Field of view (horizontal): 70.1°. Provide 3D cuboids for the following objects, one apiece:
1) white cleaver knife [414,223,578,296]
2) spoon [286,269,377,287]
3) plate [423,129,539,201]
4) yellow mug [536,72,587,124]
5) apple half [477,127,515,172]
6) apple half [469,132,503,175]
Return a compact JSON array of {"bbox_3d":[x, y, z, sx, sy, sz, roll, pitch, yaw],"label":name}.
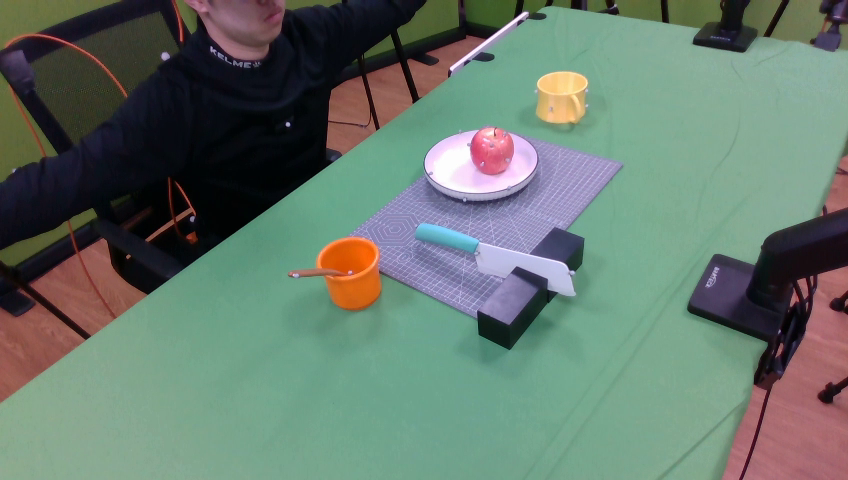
[{"bbox_3d":[0.093,0.028,0.880,0.284,0.066,0.021,17,44,40],"label":"white cleaver knife"},{"bbox_3d":[-0.125,0.049,0.831,0.041,0.195,0.021,22,92,28],"label":"spoon"},{"bbox_3d":[0.103,-0.132,1.092,0.209,0.038,0.208,-4,40,4],"label":"plate"},{"bbox_3d":[0.285,-0.281,1.222,0.100,0.064,0.130,-16,42,-9],"label":"yellow mug"},{"bbox_3d":[0.132,-0.164,1.085,0.053,0.075,0.080,-28,41,-28],"label":"apple half"},{"bbox_3d":[0.102,-0.146,1.067,0.033,0.081,0.080,-28,44,-29],"label":"apple half"}]
